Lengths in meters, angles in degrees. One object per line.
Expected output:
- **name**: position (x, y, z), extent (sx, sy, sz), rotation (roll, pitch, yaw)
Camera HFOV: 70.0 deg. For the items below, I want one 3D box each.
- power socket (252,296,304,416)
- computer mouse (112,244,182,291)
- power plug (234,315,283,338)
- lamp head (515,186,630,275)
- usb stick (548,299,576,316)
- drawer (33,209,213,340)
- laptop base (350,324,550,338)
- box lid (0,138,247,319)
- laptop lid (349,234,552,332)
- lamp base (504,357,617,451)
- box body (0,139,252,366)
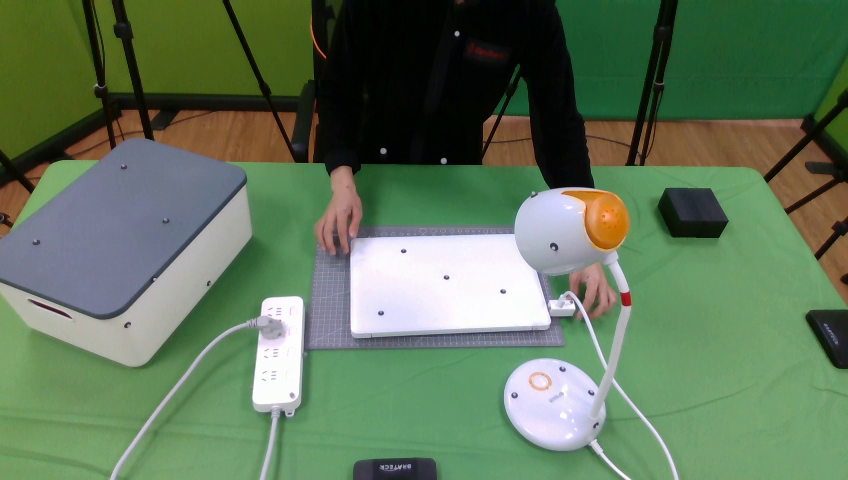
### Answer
- **power socket**: position (-0.238, 0.182, 0.997), extent (0.072, 0.033, 0.225), rotation (-3, 47, -5)
- **computer mouse**: position (-0.493, 0.046, 1.078), extent (0.117, 0.041, 0.062), rotation (24, 42, 13)
- **power plug**: position (-0.269, 0.144, 1.000), extent (0.072, 0.053, 0.035), rotation (4, 47, 2)
- **lamp head**: position (0.188, -0.013, 0.728), extent (0.112, 0.112, 0.122), rotation (-25, 9, -25)
- **usb stick**: position (0.239, 0.121, 1.084), extent (0.059, 0.027, 0.021), rotation (-2, 52, -1)
- **drawer**: position (-0.509, 0.054, 1.046), extent (0.194, 0.073, 0.211), rotation (15, 43, 10)
- **laptop base**: position (0.039, 0.081, 1.124), extent (0.355, 0.023, 0.234), rotation (-2, 43, -6)
- **box lid**: position (-0.494, -0.037, 0.993), extent (0.263, 0.015, 0.370), rotation (17, 46, 12)
- **laptop lid**: position (0.040, 0.071, 1.118), extent (0.357, 0.013, 0.240), rotation (0, 44, -5)
- **lamp base**: position (0.220, 0.211, 0.903), extent (0.160, 0.181, 0.178), rotation (-33, 59, -30)
- **box body**: position (-0.496, 0.013, 1.048), extent (0.254, 0.161, 0.362), rotation (17, 47, 12)
